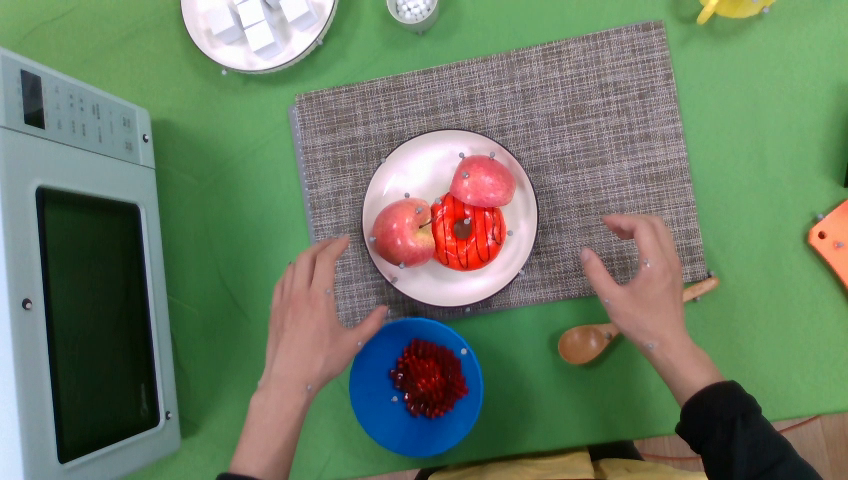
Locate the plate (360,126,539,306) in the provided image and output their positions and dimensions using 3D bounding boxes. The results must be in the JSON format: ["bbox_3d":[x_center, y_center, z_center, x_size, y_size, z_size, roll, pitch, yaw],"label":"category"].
[{"bbox_3d":[0.030,-0.028,0.710,0.209,0.038,0.209,0,88,10],"label":"plate"}]

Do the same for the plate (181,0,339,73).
[{"bbox_3d":[-0.201,-0.310,0.763,0.207,0.039,0.207,0,88,10],"label":"plate"}]

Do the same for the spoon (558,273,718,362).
[{"bbox_3d":[0.241,0.085,0.681,0.194,0.022,0.041,-27,68,8],"label":"spoon"}]

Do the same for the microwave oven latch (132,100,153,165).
[{"bbox_3d":[-0.365,-0.134,0.766,0.030,0.029,0.079,-6,88,9],"label":"microwave oven latch"}]

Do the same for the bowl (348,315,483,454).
[{"bbox_3d":[-0.003,0.159,0.693,0.151,0.077,0.151,0,88,10],"label":"bowl"}]

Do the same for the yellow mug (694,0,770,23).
[{"bbox_3d":[0.338,-0.292,0.655,0.099,0.064,0.131,38,95,9],"label":"yellow mug"}]

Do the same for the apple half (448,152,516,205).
[{"bbox_3d":[0.068,-0.075,0.678,0.081,0.033,0.080,3,49,-3],"label":"apple half"}]

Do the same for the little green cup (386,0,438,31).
[{"bbox_3d":[-0.012,-0.284,0.729,0.061,0.039,0.061,0,88,10],"label":"little green cup"}]

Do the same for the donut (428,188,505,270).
[{"bbox_3d":[0.044,-0.014,0.695,0.099,0.048,0.099,0,89,9],"label":"donut"}]

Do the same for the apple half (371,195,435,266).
[{"bbox_3d":[-0.031,-0.010,0.688,0.074,0.054,0.080,-10,84,51],"label":"apple half"}]

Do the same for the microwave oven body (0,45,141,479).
[{"bbox_3d":[-0.505,0.055,0.686,0.325,0.261,0.441,-7,87,9],"label":"microwave oven body"}]

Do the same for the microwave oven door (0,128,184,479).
[{"bbox_3d":[-0.358,0.078,0.655,0.039,0.244,0.355,-8,86,10],"label":"microwave oven door"}]

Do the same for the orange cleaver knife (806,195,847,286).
[{"bbox_3d":[0.483,0.055,0.642,0.077,0.012,0.210,-25,83,3],"label":"orange cleaver knife"}]
